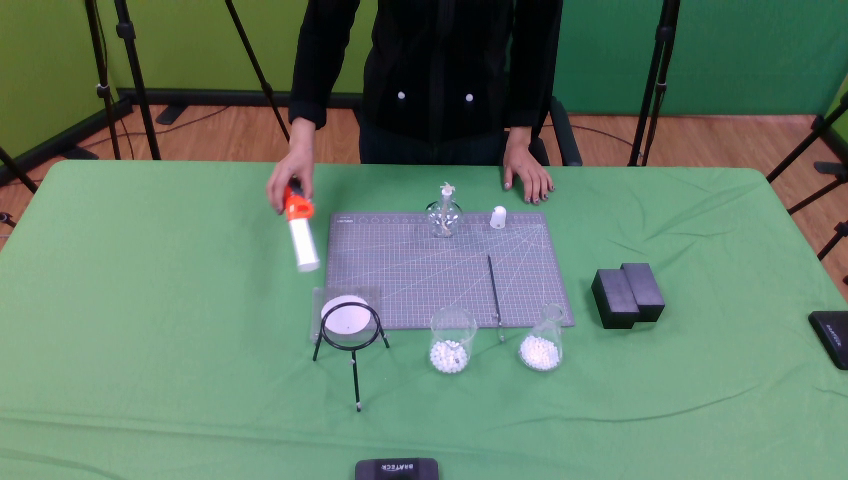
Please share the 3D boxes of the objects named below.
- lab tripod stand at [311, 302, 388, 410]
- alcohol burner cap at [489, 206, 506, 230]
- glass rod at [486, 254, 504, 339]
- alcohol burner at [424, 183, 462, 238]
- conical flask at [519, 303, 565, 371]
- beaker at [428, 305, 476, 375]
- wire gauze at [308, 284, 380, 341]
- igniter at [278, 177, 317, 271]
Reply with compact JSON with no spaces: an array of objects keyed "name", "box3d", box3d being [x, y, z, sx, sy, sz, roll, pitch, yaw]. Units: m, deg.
[{"name":"lab tripod stand","box3d":[-0.113,0.168,0.951,0.148,0.132,0.147,2,44,-2]},{"name":"alcohol burner cap","box3d":[0.152,-0.047,1.241,0.034,0.048,0.033,2,45,-2]},{"name":"glass rod","box3d":[0.129,0.099,1.119,0.008,0.008,0.198,-1,47,-4]},{"name":"alcohol burner","box3d":[0.039,-0.063,1.197,0.078,0.119,0.077,2,44,-2]},{"name":"conical flask","box3d":[0.201,0.155,0.997,0.075,0.122,0.075,2,46,-2]},{"name":"beaker","box3d":[0.044,0.169,0.987,0.074,0.101,0.083,1,47,-3]},{"name":"wire gauze","box3d":[-0.141,0.128,1.071,0.125,0.011,0.120,-1,46,-5]},{"name":"igniter","box3d":[-0.228,-0.038,1.092,0.057,0.025,0.274,-7,39,-15]}]
